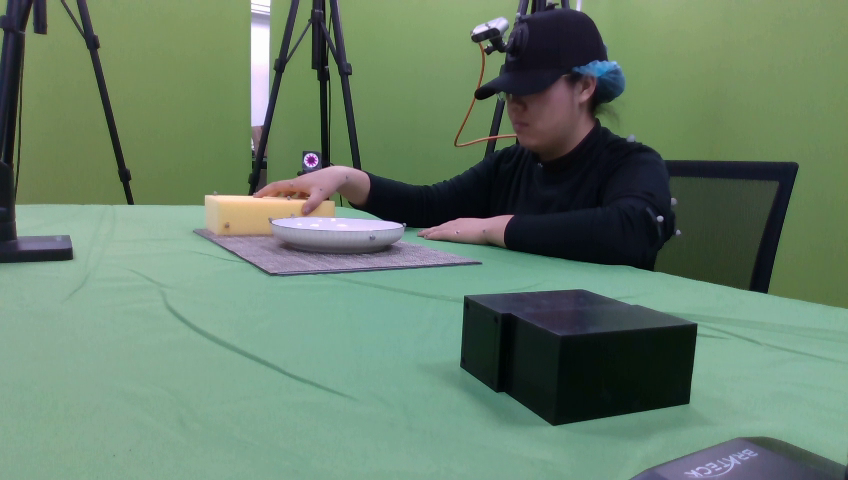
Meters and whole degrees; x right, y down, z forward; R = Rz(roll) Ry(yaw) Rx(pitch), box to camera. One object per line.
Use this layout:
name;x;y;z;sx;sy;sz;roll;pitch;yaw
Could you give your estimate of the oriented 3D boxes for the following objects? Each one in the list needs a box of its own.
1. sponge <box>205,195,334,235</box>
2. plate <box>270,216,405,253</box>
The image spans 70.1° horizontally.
sponge;-0.280;-0.047;1.097;0.208;0.061;0.117;-2;8;-31
plate;-0.134;-0.009;0.946;0.208;0.039;0.207;3;7;0
